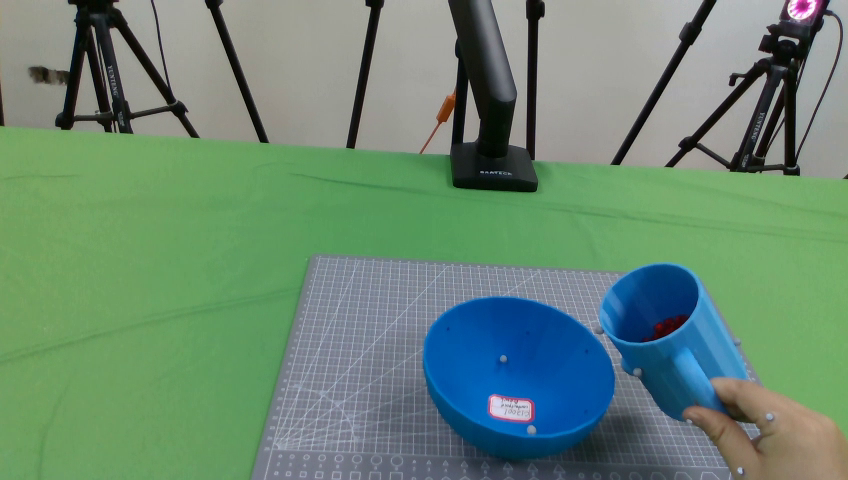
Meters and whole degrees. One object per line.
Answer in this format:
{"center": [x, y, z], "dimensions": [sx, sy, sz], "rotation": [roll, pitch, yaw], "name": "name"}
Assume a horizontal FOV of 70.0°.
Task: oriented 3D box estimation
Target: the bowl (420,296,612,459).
{"center": [0.068, 0.123, 0.494], "dimensions": [0.151, 0.077, 0.150], "rotation": [4, 35, -2], "name": "bowl"}

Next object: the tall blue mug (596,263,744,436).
{"center": [0.198, 0.085, 0.456], "dimensions": [0.077, 0.109, 0.106], "rotation": [-46, 31, -9], "name": "tall blue mug"}
